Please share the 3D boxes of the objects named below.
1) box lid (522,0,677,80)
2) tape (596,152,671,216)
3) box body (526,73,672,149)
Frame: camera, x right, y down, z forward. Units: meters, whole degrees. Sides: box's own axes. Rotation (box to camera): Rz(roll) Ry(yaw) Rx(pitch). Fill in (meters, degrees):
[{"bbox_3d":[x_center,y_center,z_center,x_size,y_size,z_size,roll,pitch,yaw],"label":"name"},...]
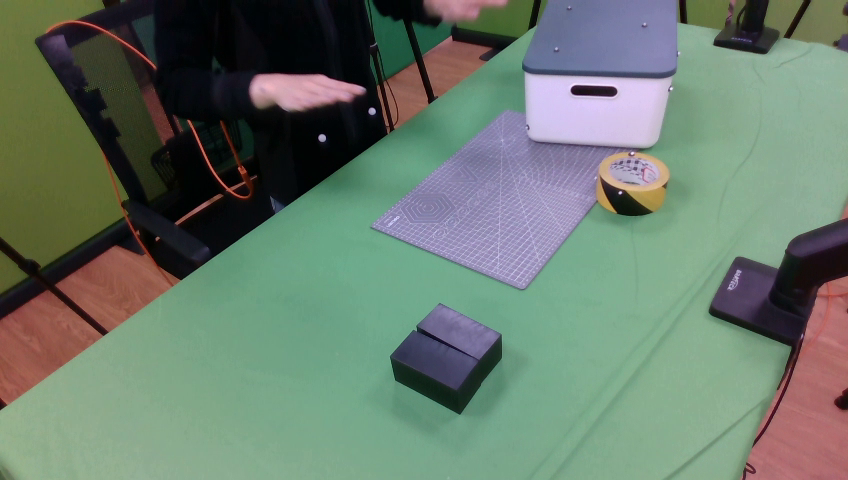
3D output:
[{"bbox_3d":[0.346,-0.397,1.163,0.262,0.015,0.371,6,42,17],"label":"box lid"},{"bbox_3d":[0.349,-0.095,1.009,0.117,0.053,0.116,-3,42,3],"label":"tape"},{"bbox_3d":[0.356,-0.342,1.212,0.253,0.161,0.363,7,42,17],"label":"box body"}]
